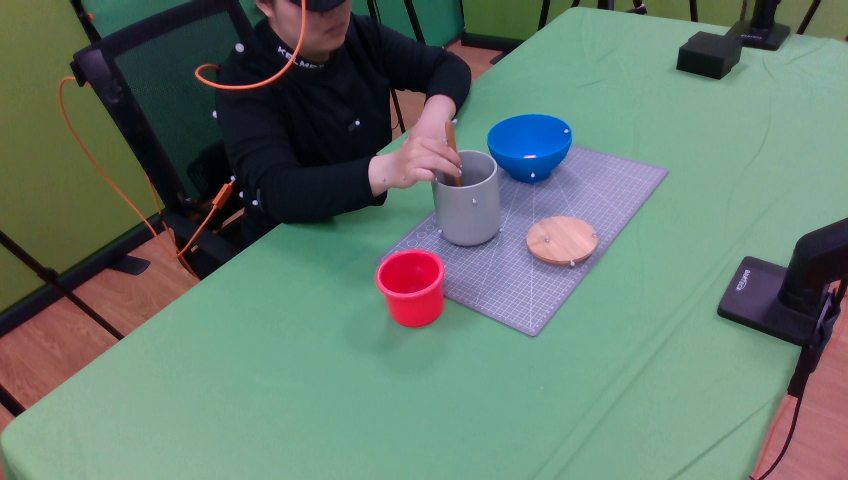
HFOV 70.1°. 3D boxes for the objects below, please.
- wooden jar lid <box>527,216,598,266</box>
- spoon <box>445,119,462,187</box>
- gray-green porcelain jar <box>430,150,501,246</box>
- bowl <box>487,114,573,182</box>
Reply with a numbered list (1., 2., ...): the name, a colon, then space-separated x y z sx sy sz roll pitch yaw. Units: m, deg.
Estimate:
1. wooden jar lid: 0.214 0.003 0.937 0.108 0.021 0.108 -4 40 4
2. spoon: 0.049 -0.097 0.922 0.041 0.194 0.021 1 37 17
3. gray-green porcelain jar: 0.069 -0.062 0.959 0.106 0.127 0.105 -5 40 5
4. bowl: 0.190 -0.156 1.085 0.151 0.077 0.150 -5 40 5
